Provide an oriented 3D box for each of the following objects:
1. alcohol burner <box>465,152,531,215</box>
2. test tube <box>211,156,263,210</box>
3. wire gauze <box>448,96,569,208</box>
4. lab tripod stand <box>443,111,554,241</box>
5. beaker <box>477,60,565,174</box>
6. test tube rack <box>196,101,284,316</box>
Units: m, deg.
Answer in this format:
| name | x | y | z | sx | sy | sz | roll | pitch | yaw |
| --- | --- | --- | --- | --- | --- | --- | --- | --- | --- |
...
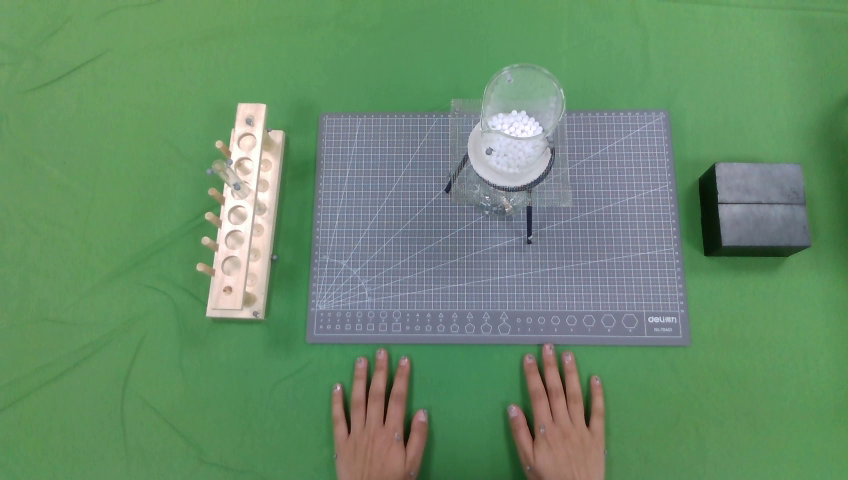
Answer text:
| name | x | y | z | sx | sy | sz | roll | pitch | yaw |
| --- | --- | --- | --- | --- | --- | --- | --- | --- | --- |
| alcohol burner | 0.087 | -0.071 | 0.701 | 0.078 | 0.119 | 0.077 | 0 | 75 | 0 |
| test tube | -0.204 | -0.059 | 0.674 | 0.017 | 0.151 | 0.017 | 0 | 77 | 0 |
| wire gauze | 0.088 | -0.094 | 0.629 | 0.125 | 0.011 | 0.121 | 2 | 76 | 0 |
| lab tripod stand | 0.094 | -0.081 | 0.693 | 0.148 | 0.132 | 0.147 | -1 | 74 | 3 |
| beaker | 0.086 | -0.111 | 0.583 | 0.084 | 0.101 | 0.073 | -33 | 77 | -7 |
| test tube rack | -0.222 | -0.036 | 0.720 | 0.067 | 0.085 | 0.241 | 2 | 76 | 3 |
